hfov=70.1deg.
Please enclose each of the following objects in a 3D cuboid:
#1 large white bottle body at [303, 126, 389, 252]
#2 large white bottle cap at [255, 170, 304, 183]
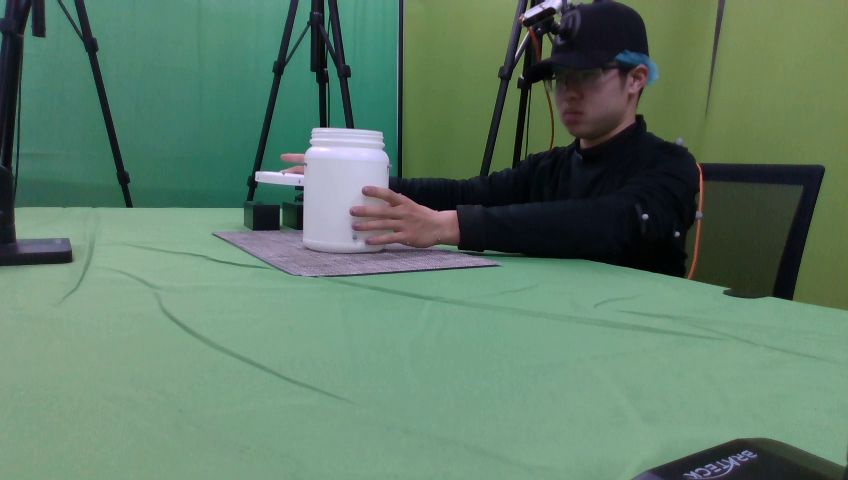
[{"bbox_3d":[-0.120,-0.080,0.937,0.131,0.184,0.130,2,7,0],"label":"large white bottle body"},{"bbox_3d":[-0.267,-0.122,1.168,0.115,0.018,0.115,5,8,0],"label":"large white bottle cap"}]
